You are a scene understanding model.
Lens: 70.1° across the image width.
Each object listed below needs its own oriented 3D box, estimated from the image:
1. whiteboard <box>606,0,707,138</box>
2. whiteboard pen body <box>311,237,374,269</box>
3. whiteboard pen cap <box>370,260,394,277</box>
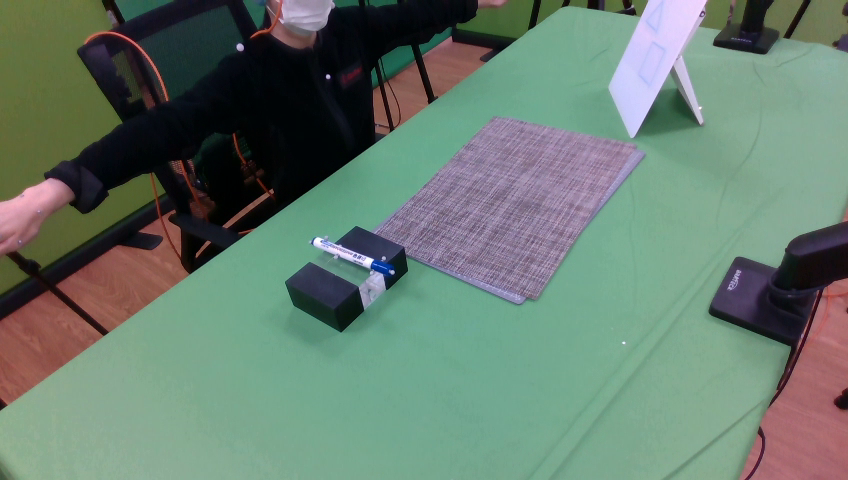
[{"bbox_3d":[0.496,-0.359,1.147,0.144,0.305,0.216,11,40,-7],"label":"whiteboard"},{"bbox_3d":[-0.111,0.022,0.891,0.140,0.017,0.017,19,47,28],"label":"whiteboard pen body"},{"bbox_3d":[-0.061,0.040,0.862,0.033,0.018,0.018,19,47,26],"label":"whiteboard pen cap"}]
